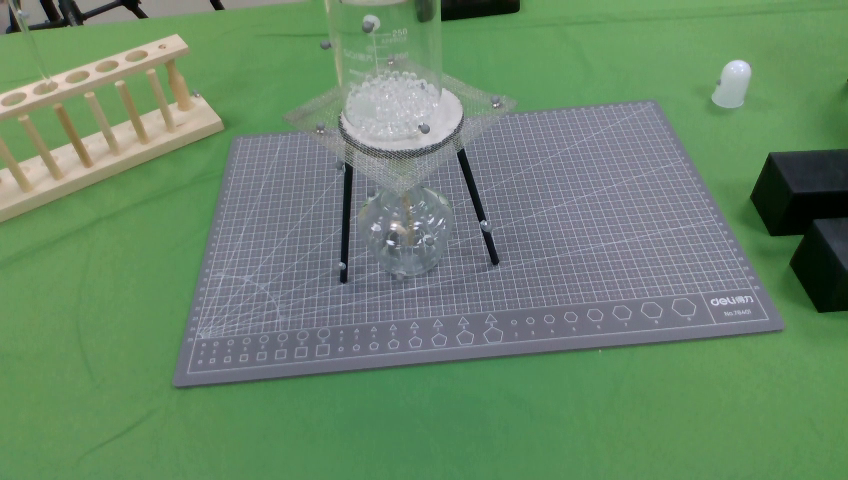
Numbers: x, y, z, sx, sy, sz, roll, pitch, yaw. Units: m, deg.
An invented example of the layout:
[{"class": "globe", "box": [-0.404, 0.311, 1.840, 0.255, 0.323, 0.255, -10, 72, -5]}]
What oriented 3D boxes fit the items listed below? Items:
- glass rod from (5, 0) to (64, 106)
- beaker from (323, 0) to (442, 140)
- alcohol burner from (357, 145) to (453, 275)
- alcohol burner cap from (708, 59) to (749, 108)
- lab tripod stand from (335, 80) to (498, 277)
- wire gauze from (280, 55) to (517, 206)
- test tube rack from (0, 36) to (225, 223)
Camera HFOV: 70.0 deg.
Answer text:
[{"class": "glass rod", "box": [-0.347, -0.156, 0.550, 0.008, 0.201, 0.008, 2, 47, -1]}, {"class": "beaker", "box": [-0.026, -0.123, 0.392, 0.084, 0.101, 0.073, 9, 48, 12]}, {"class": "alcohol burner", "box": [-0.016, -0.028, 0.473, 0.078, 0.120, 0.077, -1, 48, 2]}, {"class": "alcohol burner cap", "box": [0.319, -0.165, 0.630, 0.034, 0.048, 0.033, -2, 46, 2]}, {"class": "lab tripod stand", "box": [-0.010, -0.045, 0.475, 0.148, 0.133, 0.147, -1, 46, 1]}, {"class": "wire gauze", "box": [-0.018, -0.088, 0.426, 0.124, 0.011, 0.121, 35, 59, 28]}, {"class": "test tube rack", "box": [-0.334, -0.111, 0.598, 0.242, 0.086, 0.066, -29, 51, -21]}]
